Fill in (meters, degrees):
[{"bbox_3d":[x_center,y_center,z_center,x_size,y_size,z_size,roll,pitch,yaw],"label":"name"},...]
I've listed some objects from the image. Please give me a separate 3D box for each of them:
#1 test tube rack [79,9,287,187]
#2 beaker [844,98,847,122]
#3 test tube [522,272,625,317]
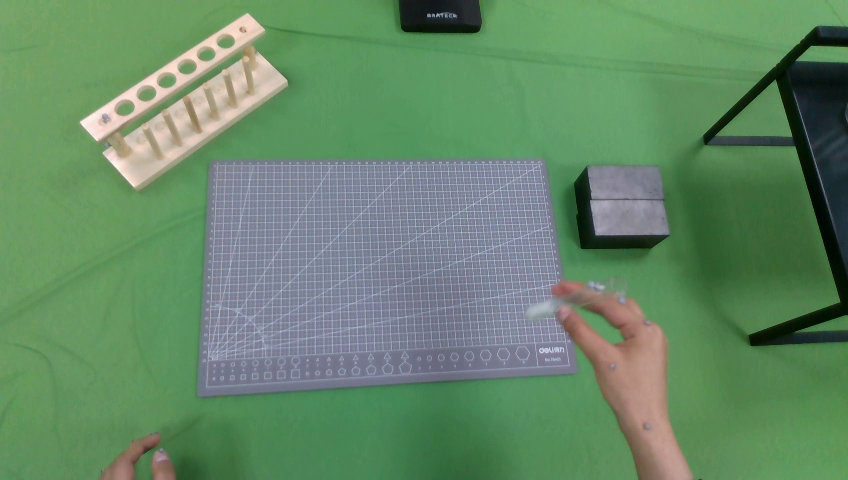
[{"bbox_3d":[-0.291,-0.179,0.761,0.066,0.085,0.242,45,71,10],"label":"test tube rack"},{"bbox_3d":[0.529,-0.161,0.670,0.084,0.101,0.073,-6,71,-9],"label":"beaker"},{"bbox_3d":[0.129,0.052,0.546,0.017,0.150,0.017,6,73,-19],"label":"test tube"}]
